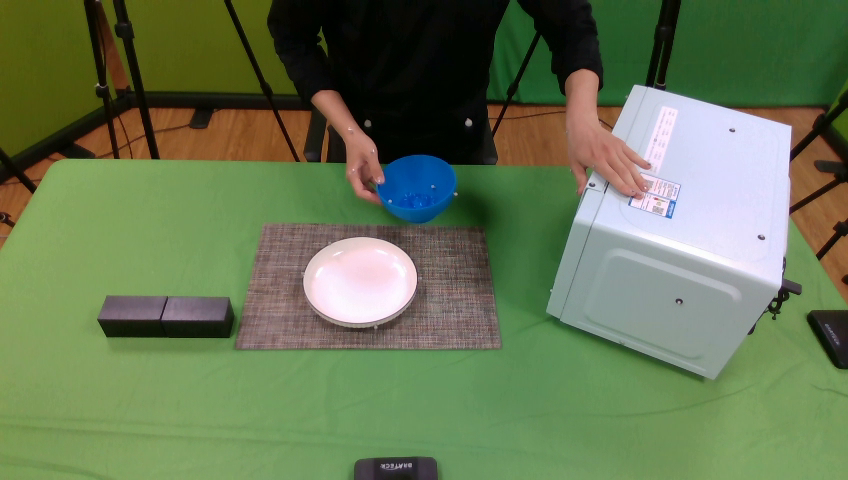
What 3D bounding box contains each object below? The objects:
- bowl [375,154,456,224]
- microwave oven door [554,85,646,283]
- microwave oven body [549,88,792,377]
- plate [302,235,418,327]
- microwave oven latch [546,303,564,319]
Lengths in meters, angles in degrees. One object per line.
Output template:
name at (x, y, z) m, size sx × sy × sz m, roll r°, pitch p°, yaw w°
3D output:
bowl at (-0.012, -0.083, 1.140) m, size 0.151 × 0.077 × 0.150 m, roll -3°, pitch 47°, yaw 4°
microwave oven door at (0.339, -0.108, 1.149) m, size 0.039 × 0.245 × 0.354 m, roll 21°, pitch 48°, yaw 16°
microwave oven body at (0.456, -0.028, 1.088) m, size 0.325 × 0.261 × 0.440 m, roll 20°, pitch 47°, yaw 16°
plate at (-0.114, 0.077, 1.098) m, size 0.208 × 0.039 × 0.206 m, roll 2°, pitch 46°, yaw -2°
microwave oven latch at (0.242, 0.102, 1.081) m, size 0.030 × 0.029 × 0.079 m, roll 22°, pitch 48°, yaw 17°
